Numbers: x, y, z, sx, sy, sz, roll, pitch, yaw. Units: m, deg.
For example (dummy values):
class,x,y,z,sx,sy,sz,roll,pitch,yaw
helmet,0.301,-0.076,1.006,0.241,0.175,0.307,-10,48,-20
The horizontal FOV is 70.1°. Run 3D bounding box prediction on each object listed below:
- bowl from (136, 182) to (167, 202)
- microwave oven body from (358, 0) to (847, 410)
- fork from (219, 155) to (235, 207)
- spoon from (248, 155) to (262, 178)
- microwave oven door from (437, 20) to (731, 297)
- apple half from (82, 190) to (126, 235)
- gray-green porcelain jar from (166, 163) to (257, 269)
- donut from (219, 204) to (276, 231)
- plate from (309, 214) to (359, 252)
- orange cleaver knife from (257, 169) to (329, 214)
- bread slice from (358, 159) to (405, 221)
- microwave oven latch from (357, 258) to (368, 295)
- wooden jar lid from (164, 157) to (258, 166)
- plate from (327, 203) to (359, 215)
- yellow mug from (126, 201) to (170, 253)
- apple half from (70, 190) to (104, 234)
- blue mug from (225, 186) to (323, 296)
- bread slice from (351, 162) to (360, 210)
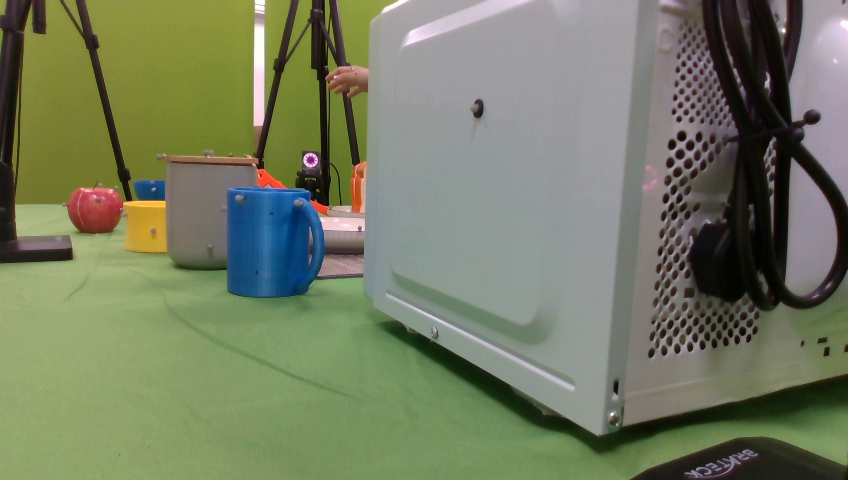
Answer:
class,x,y,z,sx,sy,sz,roll,pitch,yaw
bowl,-0.497,-0.076,1.221,0.151,0.077,0.151,2,8,0
microwave oven body,0.210,-0.051,0.471,0.444,0.260,0.324,-1,7,-28
fork,-0.459,-0.134,1.415,0.028,0.018,0.207,-1,-34,-24
spoon,-0.417,-0.150,1.543,0.042,0.193,0.021,-6,-34,-32
microwave oven door,0.181,-0.076,0.618,0.358,0.243,0.039,-2,9,-28
apple half,-0.516,-0.046,0.994,0.032,0.081,0.081,0,6,26
gray-green porcelain jar,-0.263,-0.031,0.754,0.106,0.126,0.106,2,7,0
donut,-0.316,-0.039,1.083,0.099,0.048,0.099,2,6,0
plate,-0.130,-0.011,0.945,0.208,0.039,0.207,2,8,0
orange cleaver knife,-0.286,-0.082,1.300,0.212,0.077,0.012,26,-6,-31
bread slice,-0.089,-0.106,1.278,0.105,0.131,0.019,-1,0,-24
microwave oven latch,-0.019,0.031,0.529,0.079,0.029,0.030,-1,7,-27
wooden jar lid,-0.261,-0.093,0.746,0.108,0.020,0.108,0,9,0
plate,-0.102,-0.053,1.299,0.209,0.038,0.209,2,8,0
yellow mug,-0.361,-0.019,0.866,0.130,0.064,0.100,6,9,27
apple half,-0.552,-0.048,1.010,0.053,0.074,0.081,-1,10,26
blue mug,-0.148,0.000,0.618,0.116,0.106,0.083,7,9,33
bread slice,-0.107,-0.112,1.328,0.107,0.134,0.018,0,-2,-27
